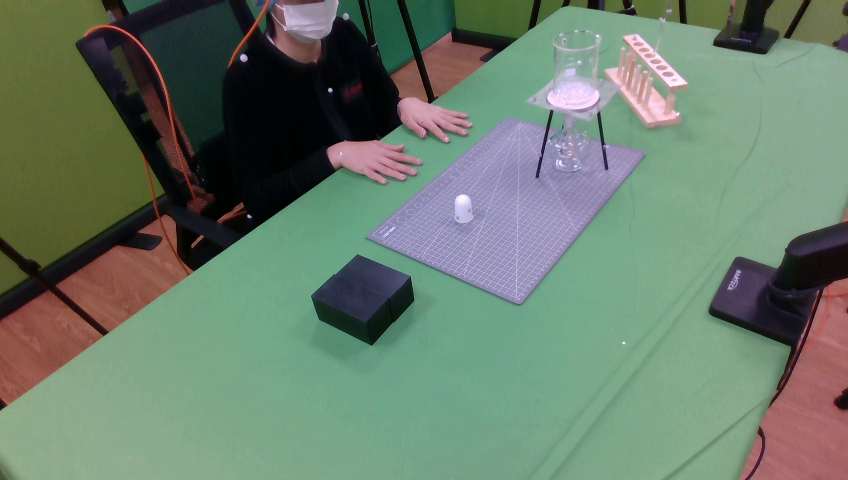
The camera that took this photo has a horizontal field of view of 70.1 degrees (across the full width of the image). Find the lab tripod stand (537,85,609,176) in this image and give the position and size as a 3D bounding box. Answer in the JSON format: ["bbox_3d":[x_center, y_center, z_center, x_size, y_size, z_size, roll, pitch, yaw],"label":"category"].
[{"bbox_3d":[0.259,-0.192,1.068,0.148,0.132,0.147,-4,42,4],"label":"lab tripod stand"}]

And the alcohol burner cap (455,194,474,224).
[{"bbox_3d":[0.066,-0.054,1.006,0.034,0.048,0.033,-5,40,5],"label":"alcohol burner cap"}]

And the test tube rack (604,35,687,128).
[{"bbox_3d":[0.447,-0.330,1.241,0.067,0.085,0.241,-9,41,-2],"label":"test tube rack"}]

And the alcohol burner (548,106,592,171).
[{"bbox_3d":[0.258,-0.183,1.072,0.078,0.119,0.077,-6,41,6],"label":"alcohol burner"}]

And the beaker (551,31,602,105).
[{"bbox_3d":[0.252,-0.282,0.998,0.084,0.101,0.073,-16,42,-7],"label":"beaker"}]

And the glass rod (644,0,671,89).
[{"bbox_3d":[0.463,-0.387,1.204,0.008,0.200,0.008,0,47,1],"label":"glass rod"}]

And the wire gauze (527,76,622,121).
[{"bbox_3d":[0.255,-0.247,1.031,0.124,0.011,0.122,23,49,34],"label":"wire gauze"}]
